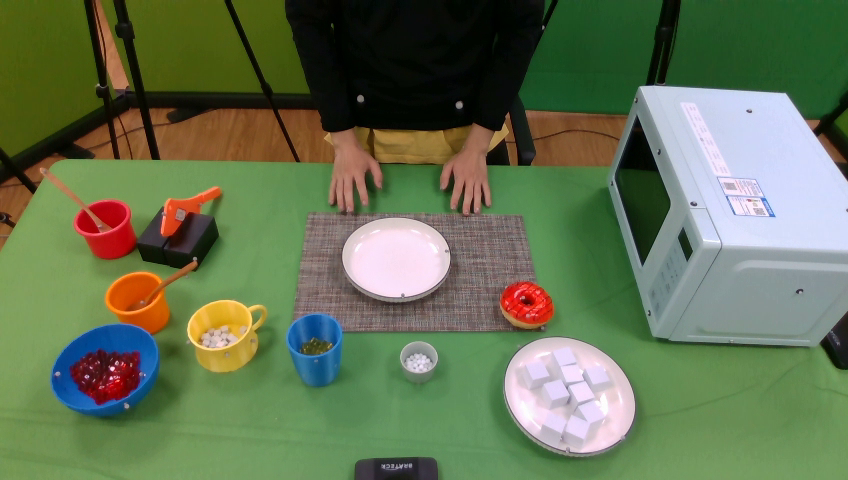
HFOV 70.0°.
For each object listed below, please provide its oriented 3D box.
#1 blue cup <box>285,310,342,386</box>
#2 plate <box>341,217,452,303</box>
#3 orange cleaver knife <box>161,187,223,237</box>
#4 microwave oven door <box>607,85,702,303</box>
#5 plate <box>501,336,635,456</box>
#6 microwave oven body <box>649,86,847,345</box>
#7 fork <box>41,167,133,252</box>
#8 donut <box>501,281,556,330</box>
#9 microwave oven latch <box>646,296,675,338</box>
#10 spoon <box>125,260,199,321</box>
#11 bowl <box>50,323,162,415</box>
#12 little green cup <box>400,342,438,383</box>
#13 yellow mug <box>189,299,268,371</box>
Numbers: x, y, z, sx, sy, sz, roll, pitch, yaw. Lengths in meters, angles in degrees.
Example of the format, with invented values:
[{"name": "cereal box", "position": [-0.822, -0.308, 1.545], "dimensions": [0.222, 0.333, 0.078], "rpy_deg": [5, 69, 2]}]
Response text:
[{"name": "blue cup", "position": [-0.170, 0.179, 0.958], "dimensions": [0.093, 0.101, 0.092], "rpy_deg": [2, 44, -1]}, {"name": "plate", "position": [-0.052, 0.039, 1.140], "dimensions": [0.209, 0.038, 0.208], "rpy_deg": [2, 46, -2]}, {"name": "orange cleaver knife", "position": [-0.448, -0.059, 1.181], "dimensions": [0.012, 0.077, 0.211], "rpy_deg": [13, 17, 6]}, {"name": "microwave oven door", "position": [0.423, -0.094, 1.141], "dimensions": [0.039, 0.245, 0.353], "rpy_deg": [2, 46, -1]}, {"name": "plate", "position": [0.225, 0.248, 0.963], "dimensions": [0.208, 0.039, 0.206], "rpy_deg": [2, 46, -2]}, {"name": "microwave oven body", "position": [0.568, -0.053, 1.118], "dimensions": [0.326, 0.261, 0.439], "rpy_deg": [2, 45, -1]}, {"name": "fork", "position": [-0.624, -0.056, 1.121], "dimensions": [0.208, 0.018, 0.028], "rpy_deg": [49, 52, -15]}, {"name": "donut", "position": [0.185, 0.116, 1.079], "dimensions": [0.099, 0.048, 0.098], "rpy_deg": [3, 45, -3]}, {"name": "microwave oven latch", "position": [0.412, 0.134, 1.061], "dimensions": [0.030, 0.029, 0.078], "rpy_deg": [4, 45, 1]}, {"name": "spoon", "position": [-0.434, 0.083, 0.999], "dimensions": [0.022, 0.194, 0.041], "rpy_deg": [35, 34, -35]}, {"name": "bowl", "position": [-0.472, 0.209, 0.924], "dimensions": [0.151, 0.077, 0.150], "rpy_deg": [3, 45, -2]}, {"name": "little green cup", "position": [-0.010, 0.202, 0.991], "dimensions": [0.061, 0.039, 0.061], "rpy_deg": [2, 47, -2]}, {"name": "yellow mug", "position": [-0.316, 0.148, 1.002], "dimensions": [0.131, 0.064, 0.099], "rpy_deg": [-32, 56, -31]}]
